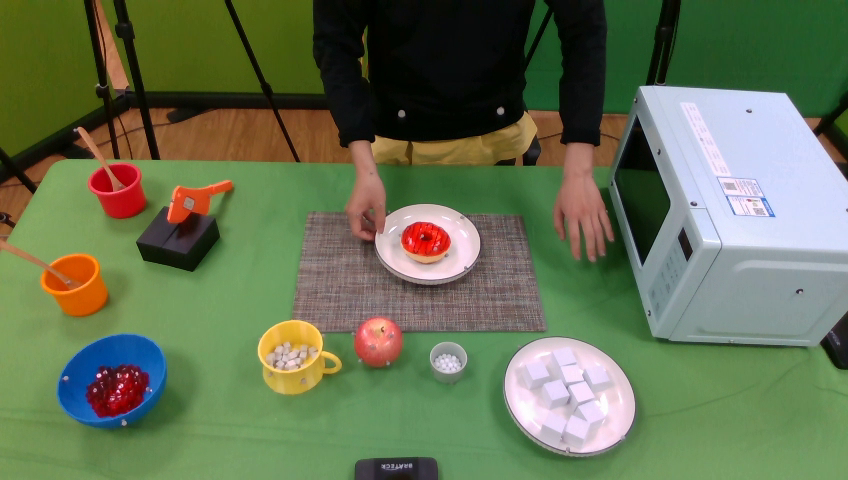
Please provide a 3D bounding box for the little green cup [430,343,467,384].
[{"bbox_3d":[0.039,0.203,0.994,0.061,0.039,0.061,2,46,-2],"label":"little green cup"}]

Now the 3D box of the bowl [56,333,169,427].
[{"bbox_3d":[-0.456,0.223,0.911,0.151,0.077,0.150,3,46,-2],"label":"bowl"}]

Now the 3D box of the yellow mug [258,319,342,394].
[{"bbox_3d":[-0.196,0.189,0.972,0.131,0.064,0.099,9,46,4],"label":"yellow mug"}]

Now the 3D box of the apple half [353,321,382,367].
[{"bbox_3d":[-0.098,0.177,0.984,0.033,0.081,0.081,-17,49,-25],"label":"apple half"}]

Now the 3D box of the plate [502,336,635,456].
[{"bbox_3d":[0.225,0.248,0.963,0.208,0.039,0.206,2,46,-2],"label":"plate"}]

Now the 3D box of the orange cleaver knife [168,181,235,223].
[{"bbox_3d":[-0.436,-0.078,1.196,0.012,0.077,0.211,16,15,10],"label":"orange cleaver knife"}]

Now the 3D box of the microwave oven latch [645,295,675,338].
[{"bbox_3d":[0.412,0.134,1.061,0.030,0.029,0.078,3,45,0],"label":"microwave oven latch"}]

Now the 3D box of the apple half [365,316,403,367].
[{"bbox_3d":[-0.063,0.165,1.000,0.053,0.075,0.080,-16,45,-24],"label":"apple half"}]

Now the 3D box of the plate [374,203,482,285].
[{"bbox_3d":[0.007,0.011,1.172,0.209,0.038,0.208,2,46,-2],"label":"plate"}]

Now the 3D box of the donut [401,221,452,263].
[{"bbox_3d":[0.005,0.003,1.163,0.099,0.048,0.098,3,44,-3],"label":"donut"}]

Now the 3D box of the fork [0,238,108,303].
[{"bbox_3d":[-0.633,0.048,1.017,0.208,0.018,0.028,40,41,-27],"label":"fork"}]

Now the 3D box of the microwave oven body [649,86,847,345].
[{"bbox_3d":[0.567,-0.053,1.118,0.326,0.261,0.439,2,45,-1],"label":"microwave oven body"}]

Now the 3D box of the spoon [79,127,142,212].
[{"bbox_3d":[-0.625,-0.140,1.203,0.041,0.021,0.194,-33,100,-26],"label":"spoon"}]

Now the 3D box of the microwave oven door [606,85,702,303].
[{"bbox_3d":[0.422,-0.094,1.140,0.039,0.245,0.353,2,46,-1],"label":"microwave oven door"}]
